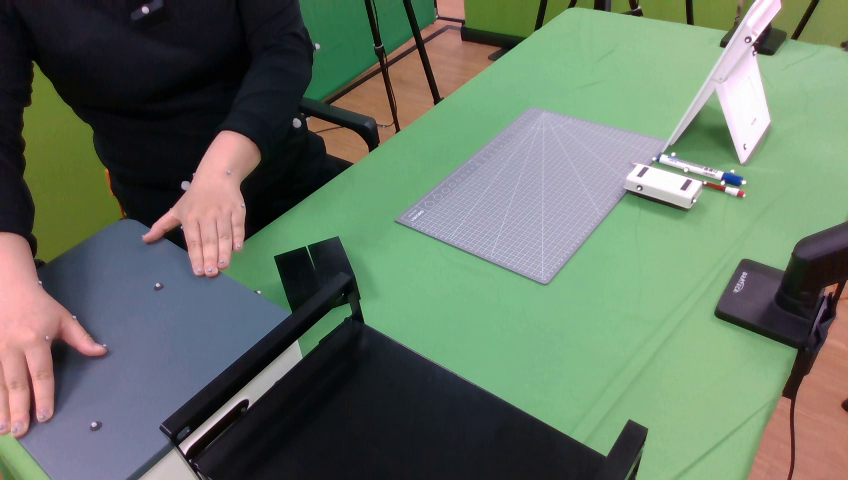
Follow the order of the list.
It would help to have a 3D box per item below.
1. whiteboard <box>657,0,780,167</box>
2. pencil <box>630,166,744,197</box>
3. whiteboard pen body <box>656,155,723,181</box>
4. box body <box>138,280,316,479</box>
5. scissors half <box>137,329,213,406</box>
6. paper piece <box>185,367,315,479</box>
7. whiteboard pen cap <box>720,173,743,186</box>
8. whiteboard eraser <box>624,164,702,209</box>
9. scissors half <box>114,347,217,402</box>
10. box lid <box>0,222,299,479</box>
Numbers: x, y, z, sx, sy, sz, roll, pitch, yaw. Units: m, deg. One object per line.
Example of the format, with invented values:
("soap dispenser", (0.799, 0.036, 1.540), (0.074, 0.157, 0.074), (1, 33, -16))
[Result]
("whiteboard", (0.571, -0.272, 1.038), (0.143, 0.306, 0.218), (36, 54, 17))
("pencil", (0.447, -0.103, 1.039), (0.192, 0.012, 0.012), (21, 48, 30))
("whiteboard pen body", (0.475, -0.123, 1.052), (0.139, 0.017, 0.017), (24, 50, 32))
("box body", (-0.339, 0.161, 0.728), (0.361, 0.161, 0.255), (23, 49, 31))
("scissors half", (-0.336, 0.173, 0.824), (0.040, 0.013, 0.174), (-35, 54, -30))
("paper piece", (-0.222, 0.234, 0.757), (0.136, 0.009, 0.137), (-39, 36, -23))
("whiteboard pen cap", (0.519, -0.103, 1.020), (0.033, 0.018, 0.018), (23, 49, 30))
("whiteboard eraser", (0.396, -0.087, 1.003), (0.112, 0.042, 0.056), (22, 48, 31))
("scissors half", (-0.349, 0.185, 0.812), (0.174, 0.013, 0.040), (16, 52, 18))
("box lid", (-0.346, 0.106, 0.680), (0.368, 0.015, 0.264), (23, 49, 31))
